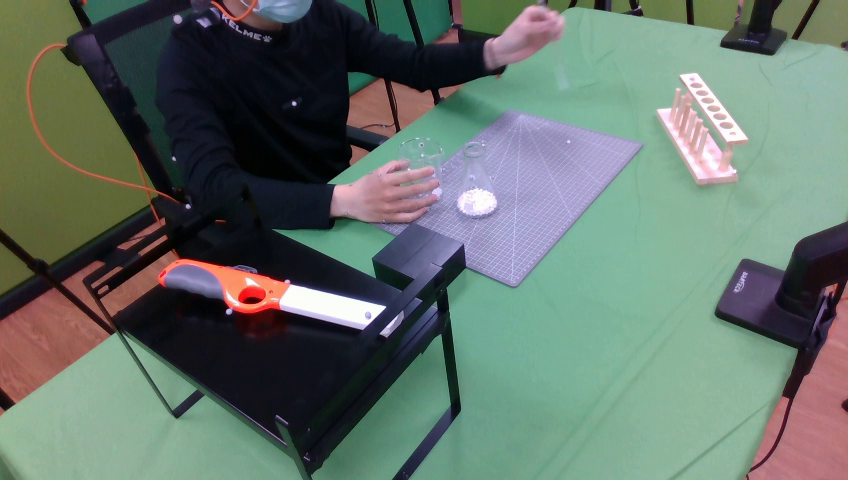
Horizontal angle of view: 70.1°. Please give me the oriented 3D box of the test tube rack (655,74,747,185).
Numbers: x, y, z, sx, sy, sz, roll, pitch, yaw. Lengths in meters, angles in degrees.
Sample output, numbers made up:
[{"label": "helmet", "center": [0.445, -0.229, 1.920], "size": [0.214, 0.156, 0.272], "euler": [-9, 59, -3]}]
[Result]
[{"label": "test tube rack", "center": [0.491, -0.205, 1.092], "size": [0.067, 0.085, 0.241], "euler": [-5, 40, 3]}]

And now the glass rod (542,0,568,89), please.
[{"label": "glass rod", "center": [0.233, -0.368, 1.092], "size": [0.008, 0.199, 0.008], "euler": [-14, -1, 0]}]

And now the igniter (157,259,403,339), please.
[{"label": "igniter", "center": [-0.157, 0.059, 0.638], "size": [0.275, 0.025, 0.057], "euler": [11, 43, 14]}]

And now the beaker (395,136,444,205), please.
[{"label": "beaker", "center": [-0.004, -0.118, 1.047], "size": [0.084, 0.101, 0.074], "euler": [5, 42, 13]}]

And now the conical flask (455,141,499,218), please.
[{"label": "conical flask", "center": [0.085, -0.103, 0.999], "size": [0.075, 0.122, 0.075], "euler": [-4, 40, 4]}]
